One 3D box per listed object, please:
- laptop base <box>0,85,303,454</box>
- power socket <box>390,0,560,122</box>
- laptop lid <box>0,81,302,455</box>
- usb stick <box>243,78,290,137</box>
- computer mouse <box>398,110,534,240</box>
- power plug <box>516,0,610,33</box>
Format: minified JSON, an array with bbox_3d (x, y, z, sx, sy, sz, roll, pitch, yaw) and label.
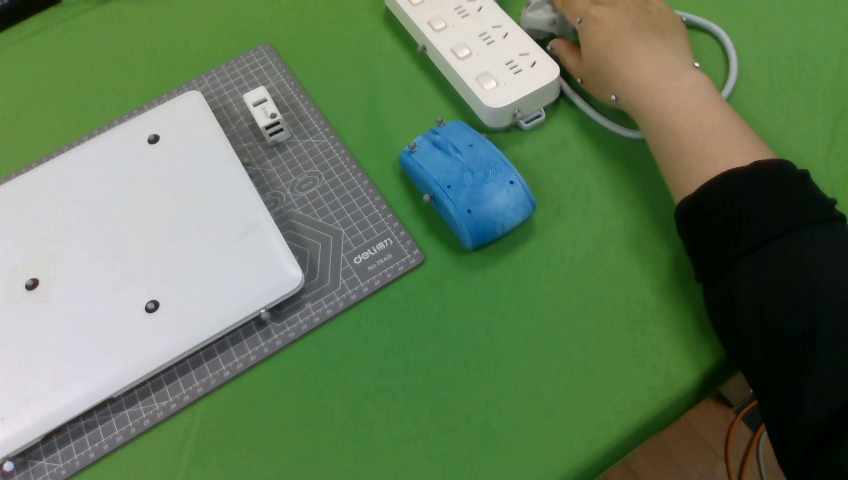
[{"bbox_3d":[-0.290,0.033,0.466,0.354,0.023,0.233,-31,64,-9],"label":"laptop base"},{"bbox_3d":[0.036,-0.189,0.533,0.072,0.033,0.224,-29,60,-7],"label":"power socket"},{"bbox_3d":[-0.291,0.029,0.455,0.357,0.013,0.239,-29,62,-8],"label":"laptop lid"},{"bbox_3d":[-0.138,-0.119,0.521,0.021,0.027,0.058,-29,58,-6],"label":"usb stick"},{"bbox_3d":[0.028,-0.055,0.455,0.063,0.041,0.116,-32,56,-6],"label":"computer mouse"},{"bbox_3d":[0.117,-0.198,0.534,0.073,0.035,0.052,3,30,-21],"label":"power plug"}]
